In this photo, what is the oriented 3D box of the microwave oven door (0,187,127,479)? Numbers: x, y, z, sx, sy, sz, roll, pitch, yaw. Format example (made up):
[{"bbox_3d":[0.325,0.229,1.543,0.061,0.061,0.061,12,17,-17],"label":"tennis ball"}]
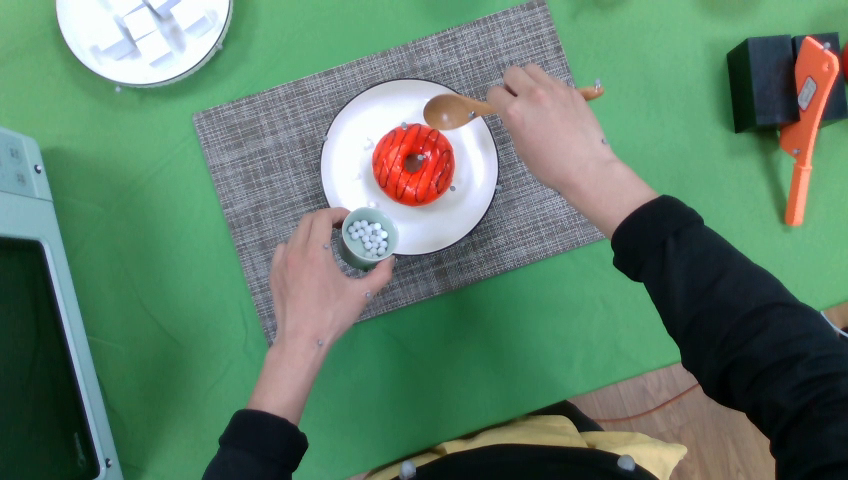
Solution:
[{"bbox_3d":[-0.406,0.116,0.588,0.039,0.244,0.355,-16,88,0],"label":"microwave oven door"}]

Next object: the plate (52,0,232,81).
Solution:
[{"bbox_3d":[-0.330,-0.289,0.721,0.208,0.039,0.207,0,88,0],"label":"plate"}]

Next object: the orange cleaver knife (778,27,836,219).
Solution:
[{"bbox_3d":[0.426,-0.129,0.692,0.012,0.076,0.213,-4,117,3],"label":"orange cleaver knife"}]

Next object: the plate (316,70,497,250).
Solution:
[{"bbox_3d":[-0.020,-0.092,0.710,0.209,0.038,0.209,0,88,0],"label":"plate"}]

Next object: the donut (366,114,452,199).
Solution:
[{"bbox_3d":[-0.017,-0.096,0.699,0.099,0.048,0.099,0,90,2],"label":"donut"}]

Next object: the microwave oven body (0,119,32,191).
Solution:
[{"bbox_3d":[-0.558,0.115,0.594,0.326,0.260,0.441,-16,89,-1],"label":"microwave oven body"}]

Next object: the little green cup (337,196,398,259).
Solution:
[{"bbox_3d":[-0.061,-0.011,0.628,0.062,0.039,0.061,14,47,-15],"label":"little green cup"}]

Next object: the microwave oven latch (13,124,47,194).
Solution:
[{"bbox_3d":[-0.463,-0.091,0.697,0.030,0.029,0.079,-15,89,-1],"label":"microwave oven latch"}]

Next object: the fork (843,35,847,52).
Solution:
[{"bbox_3d":[0.583,-0.224,0.663,0.206,0.019,0.028,9,85,42],"label":"fork"}]

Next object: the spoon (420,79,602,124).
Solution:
[{"bbox_3d":[0.079,-0.138,0.594,0.192,0.021,0.042,4,127,37],"label":"spoon"}]
